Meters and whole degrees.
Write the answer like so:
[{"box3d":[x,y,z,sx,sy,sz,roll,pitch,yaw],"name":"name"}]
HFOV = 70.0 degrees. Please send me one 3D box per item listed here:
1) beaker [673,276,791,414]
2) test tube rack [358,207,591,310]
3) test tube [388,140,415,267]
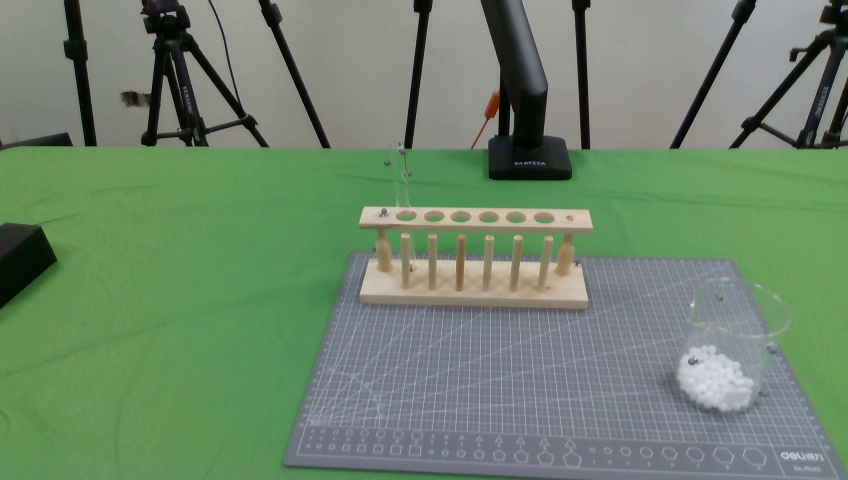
[{"box3d":[0.256,0.093,0.521,0.084,0.101,0.073,-10,36,-9],"name":"beaker"},{"box3d":[0.052,0.019,0.650,0.242,0.086,0.066,1,35,5],"name":"test tube rack"},{"box3d":[-0.023,-0.034,0.642,0.017,0.151,0.017,-4,33,3],"name":"test tube"}]
